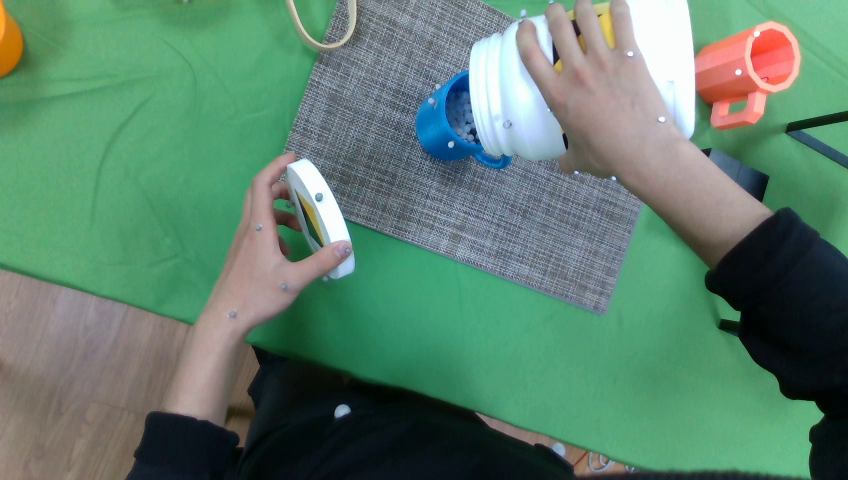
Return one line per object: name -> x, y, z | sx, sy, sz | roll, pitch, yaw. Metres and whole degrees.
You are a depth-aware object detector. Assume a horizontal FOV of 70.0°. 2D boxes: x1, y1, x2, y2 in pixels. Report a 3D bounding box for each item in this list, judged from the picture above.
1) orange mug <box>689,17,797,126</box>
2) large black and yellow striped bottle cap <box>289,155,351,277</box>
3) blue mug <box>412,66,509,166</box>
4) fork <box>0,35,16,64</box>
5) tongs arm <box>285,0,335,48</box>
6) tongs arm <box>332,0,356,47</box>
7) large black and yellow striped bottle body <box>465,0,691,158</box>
orange mug -> 0.410, -0.214, 0.788 | 0.084, 0.100, 0.126 | 10, 85, -16
large black and yellow striped bottle cap -> -0.098, -0.021, 0.562 | 0.019, 0.114, 0.115 | -21, 97, -19
blue mug -> 0.050, -0.128, 0.677 | 0.082, 0.105, 0.117 | -46, 103, -11
fork -> -0.449, -0.220, 0.507 | 0.028, 0.018, 0.209 | -59, 148, -8
tongs arm -> -0.173, -0.389, 0.620 | 0.051, 0.026, 0.386 | -20, 104, -18
tongs arm -> -0.095, -0.409, 0.646 | 0.028, 0.027, 0.388 | -6, 100, -24
large black and yellow striped bottle body -> 0.140, -0.146, 0.554 | 0.183, 0.131, 0.131 | -5, 93, 20
